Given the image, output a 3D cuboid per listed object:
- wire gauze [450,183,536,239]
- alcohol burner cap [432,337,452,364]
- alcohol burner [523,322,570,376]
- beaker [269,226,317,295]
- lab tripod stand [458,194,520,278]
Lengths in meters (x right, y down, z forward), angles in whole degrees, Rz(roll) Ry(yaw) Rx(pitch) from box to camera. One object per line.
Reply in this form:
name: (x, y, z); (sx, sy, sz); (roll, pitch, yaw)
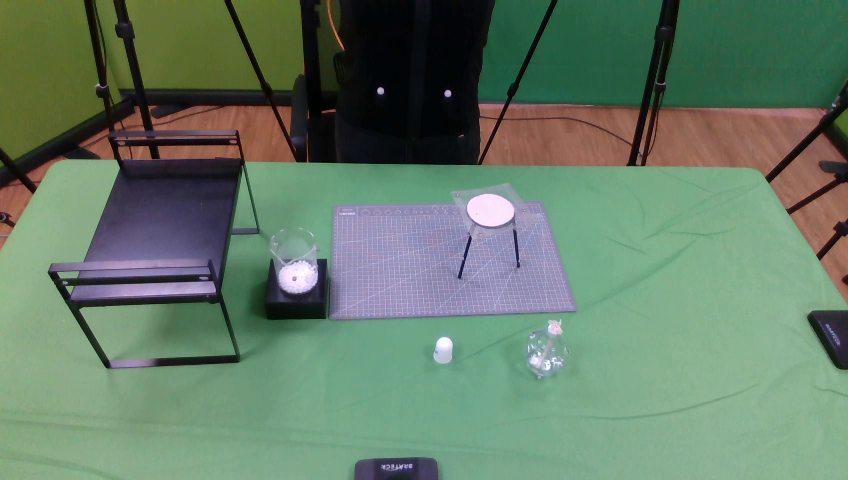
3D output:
wire gauze: (0.122, -0.057, 1.087); (0.121, 0.011, 0.124); (-12, 47, -14)
alcohol burner cap: (0.031, 0.182, 1.011); (0.034, 0.048, 0.033); (4, 45, -4)
alcohol burner: (0.203, 0.169, 0.986); (0.078, 0.119, 0.077); (3, 47, -3)
beaker: (-0.218, 0.040, 1.020); (0.074, 0.101, 0.083); (6, 47, 2)
lab tripod stand: (0.115, -0.011, 1.135); (0.148, 0.132, 0.147); (1, 45, -1)
